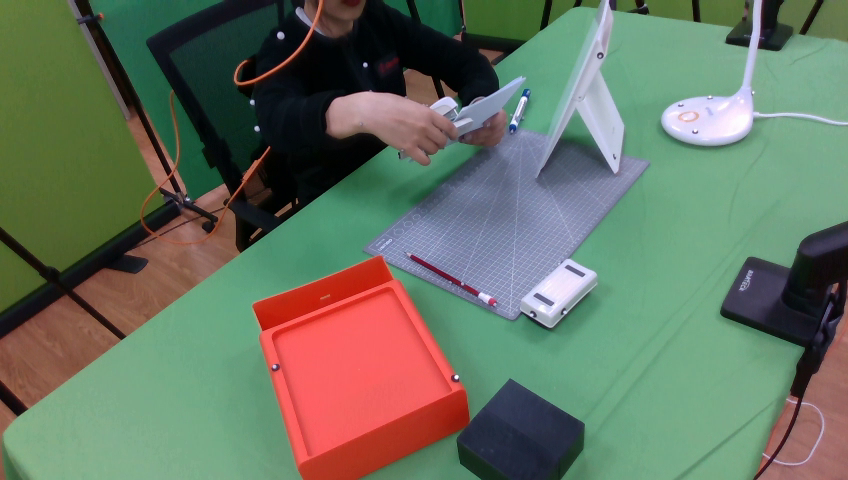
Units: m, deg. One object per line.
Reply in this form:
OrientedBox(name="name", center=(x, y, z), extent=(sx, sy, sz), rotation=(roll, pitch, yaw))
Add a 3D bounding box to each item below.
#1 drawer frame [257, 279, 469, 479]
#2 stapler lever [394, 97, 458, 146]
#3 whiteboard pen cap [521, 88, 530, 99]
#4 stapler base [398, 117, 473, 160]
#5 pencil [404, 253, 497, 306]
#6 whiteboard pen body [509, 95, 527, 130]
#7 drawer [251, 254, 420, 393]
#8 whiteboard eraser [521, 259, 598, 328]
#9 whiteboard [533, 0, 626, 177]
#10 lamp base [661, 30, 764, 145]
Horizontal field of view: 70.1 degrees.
OrientedBox(name="drawer frame", center=(-0.080, 0.169, 0.751), extent=(0.202, 0.083, 0.211), rotation=(-21, 42, -15))
OrientedBox(name="stapler lever", center=(0.001, -0.185, 0.937), extent=(0.118, 0.027, 0.040), rotation=(-27, 80, -18))
OrientedBox(name="whiteboard pen cap", center=(0.219, -0.312, 1.301), extent=(0.018, 0.018, 0.033), rotation=(6, 47, 17))
OrientedBox(name="stapler base", center=(0.015, -0.164, 0.935), extent=(0.131, 0.041, 0.024), rotation=(-28, 80, -19))
OrientedBox(name="pencil", center=(0.034, 0.056, 0.914), extent=(0.192, 0.012, 0.012), rotation=(27, 52, 38))
OrientedBox(name="whiteboard pen body", center=(0.199, -0.272, 1.262), extent=(0.017, 0.017, 0.140), rotation=(7, 44, 19))
OrientedBox(name="drawer", center=(-0.105, 0.134, 0.798), extent=(0.195, 0.073, 0.210), rotation=(-20, 42, -14))
OrientedBox(name="whiteboard eraser", center=(0.189, 0.076, 0.843), extent=(0.055, 0.042, 0.113), rotation=(29, 53, 37))
OrientedBox(name="whiteboard", center=(0.321, -0.258, 1.050), extent=(0.144, 0.306, 0.217), rotation=(21, 45, 5))
OrientedBox(name="lamp base", center=(0.535, -0.287, 1.096), extent=(0.179, 0.181, 0.159), rotation=(-10, 40, -4))
